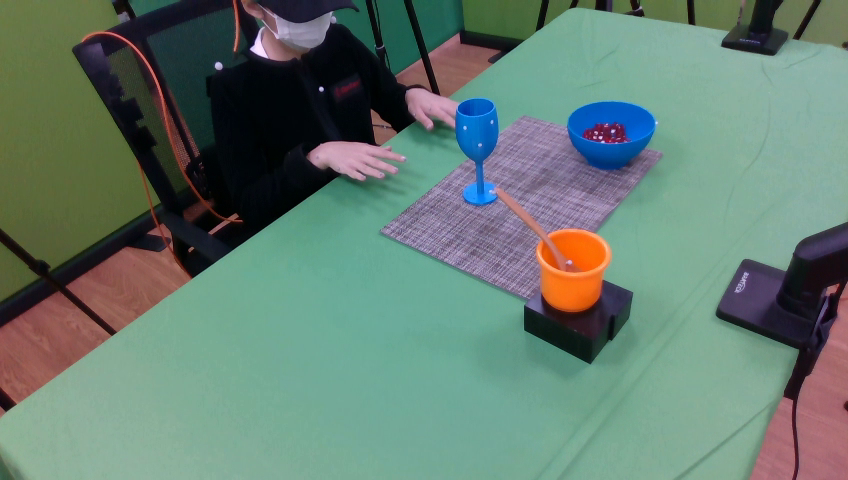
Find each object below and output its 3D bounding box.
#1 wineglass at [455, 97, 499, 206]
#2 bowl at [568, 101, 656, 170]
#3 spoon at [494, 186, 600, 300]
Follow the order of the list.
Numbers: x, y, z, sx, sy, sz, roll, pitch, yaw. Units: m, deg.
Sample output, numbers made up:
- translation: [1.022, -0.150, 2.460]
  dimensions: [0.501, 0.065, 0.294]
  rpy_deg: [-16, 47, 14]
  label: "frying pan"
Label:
- translation: [0.091, -0.145, 1.009]
  dimensions: [0.074, 0.173, 0.073]
  rpy_deg: [-5, 40, 4]
  label: "wineglass"
- translation: [0.332, -0.179, 1.084]
  dimensions: [0.151, 0.077, 0.150]
  rpy_deg: [-4, 40, 4]
  label: "bowl"
- translation: [0.157, 0.002, 0.773]
  dimensions: [0.042, 0.194, 0.021]
  rpy_deg: [-45, 8, -35]
  label: "spoon"
